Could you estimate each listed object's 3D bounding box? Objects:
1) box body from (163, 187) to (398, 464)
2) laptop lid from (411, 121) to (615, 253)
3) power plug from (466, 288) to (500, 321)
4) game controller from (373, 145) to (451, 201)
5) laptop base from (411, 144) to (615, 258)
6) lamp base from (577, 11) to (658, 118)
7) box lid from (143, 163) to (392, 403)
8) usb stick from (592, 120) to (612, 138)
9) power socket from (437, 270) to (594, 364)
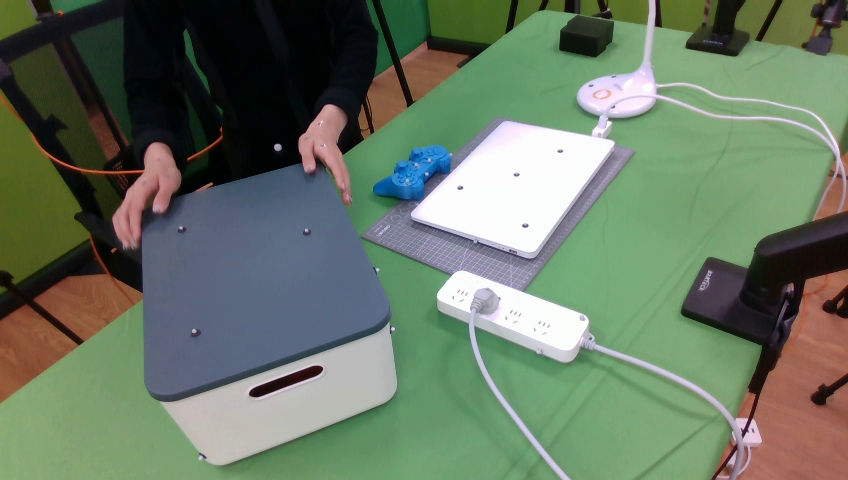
[{"bbox_3d":[-0.205,0.080,0.802,0.255,0.161,0.361,-18,41,-13],"label":"box body"},{"bbox_3d":[0.164,-0.112,1.068,0.240,0.013,0.357,19,46,31],"label":"laptop lid"},{"bbox_3d":[0.072,0.093,0.813,0.035,0.053,0.073,30,54,35],"label":"power plug"},{"bbox_3d":[-0.018,-0.130,1.110,0.096,0.052,0.155,22,48,26],"label":"game controller"},{"bbox_3d":[0.167,-0.102,1.074,0.234,0.023,0.355,16,45,30],"label":"laptop base"},{"bbox_3d":[0.406,-0.363,1.222,0.180,0.181,0.159,-20,42,-18],"label":"lamp base"},{"bbox_3d":[-0.212,0.025,0.753,0.264,0.015,0.368,-18,41,-13],"label":"box lid"},{"bbox_3d":[0.335,-0.203,1.149,0.021,0.027,0.059,25,53,26],"label":"usb stick"},{"bbox_3d":[0.118,0.102,0.830,0.225,0.033,0.072,20,48,28],"label":"power socket"}]
